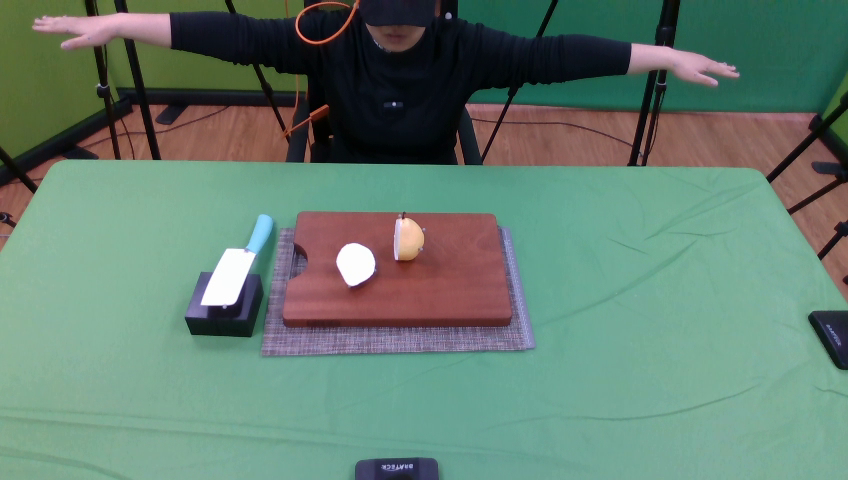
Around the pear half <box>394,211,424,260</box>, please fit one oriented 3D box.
[{"bbox_3d":[-0.027,-0.013,1.109,0.056,0.110,0.076,-7,51,-10],"label":"pear half"}]

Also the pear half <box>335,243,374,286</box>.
[{"bbox_3d":[-0.127,0.049,1.093,0.070,0.031,0.087,17,59,-8],"label":"pear half"}]

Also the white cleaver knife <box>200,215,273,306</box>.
[{"bbox_3d":[-0.335,0.029,1.101,0.066,0.021,0.285,6,32,-1],"label":"white cleaver knife"}]
